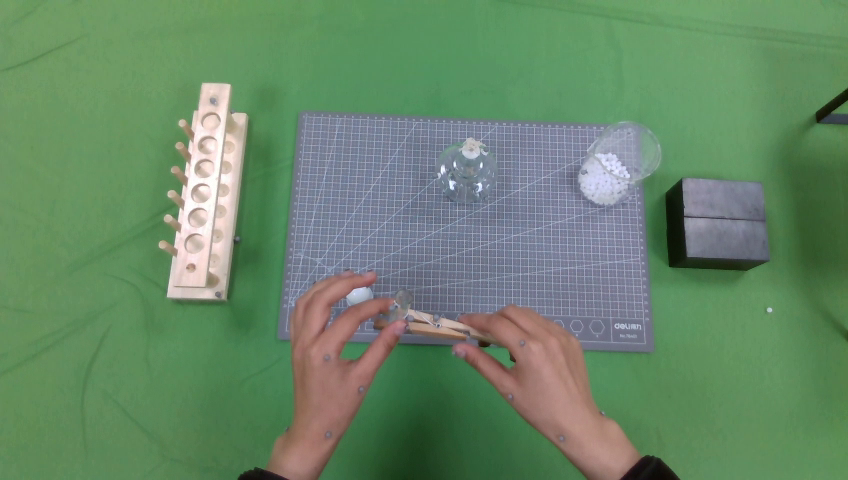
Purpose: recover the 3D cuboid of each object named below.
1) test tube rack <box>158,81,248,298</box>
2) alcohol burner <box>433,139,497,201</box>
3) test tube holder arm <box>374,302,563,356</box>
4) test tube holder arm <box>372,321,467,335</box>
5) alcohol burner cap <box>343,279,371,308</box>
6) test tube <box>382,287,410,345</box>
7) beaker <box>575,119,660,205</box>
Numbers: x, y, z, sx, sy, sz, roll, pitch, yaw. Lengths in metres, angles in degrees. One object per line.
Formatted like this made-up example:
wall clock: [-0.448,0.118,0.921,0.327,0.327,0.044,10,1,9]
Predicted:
test tube rack: [-0.265,-0.059,0.716,0.067,0.085,0.241,2,75,-1]
alcohol burner: [0.050,-0.091,0.721,0.078,0.119,0.077,0,75,0]
test tube holder arm: [0.041,0.082,0.560,0.178,0.015,0.013,12,72,0]
test tube holder arm: [-0.004,0.081,0.558,0.088,0.015,0.010,1,71,-3]
alcohol burner cap: [-0.080,0.060,0.711,0.034,0.048,0.033,1,75,-3]
test tube: [-0.027,0.075,0.565,0.017,0.151,0.017,3,67,-6]
beaker: [0.227,-0.090,0.736,0.084,0.101,0.073,1,74,-1]
